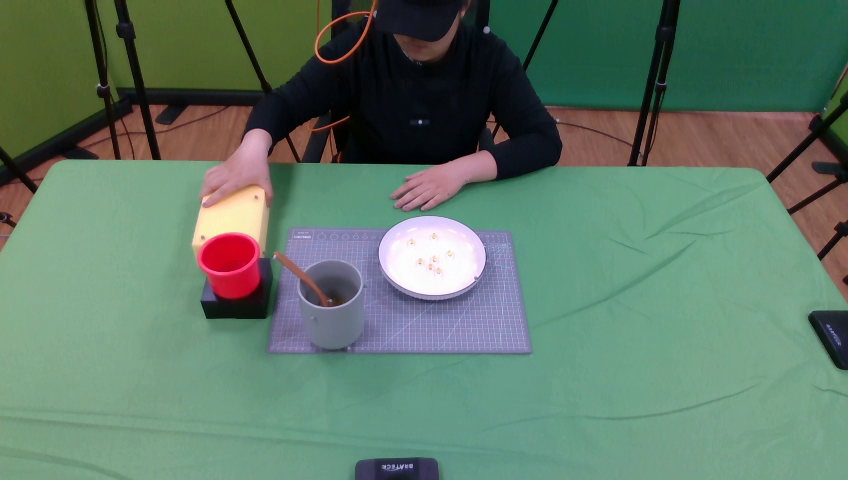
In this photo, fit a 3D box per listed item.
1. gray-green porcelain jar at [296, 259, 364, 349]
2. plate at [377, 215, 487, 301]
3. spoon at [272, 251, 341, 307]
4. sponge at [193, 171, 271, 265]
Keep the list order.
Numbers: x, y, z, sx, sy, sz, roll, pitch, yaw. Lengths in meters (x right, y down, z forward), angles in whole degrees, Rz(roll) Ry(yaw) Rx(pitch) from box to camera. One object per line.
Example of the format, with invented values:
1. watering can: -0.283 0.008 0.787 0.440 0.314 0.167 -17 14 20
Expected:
1. gray-green porcelain jar: -0.152 0.111 1.003 0.106 0.127 0.105 2 46 -2
2. plate: 0.015 0.037 1.147 0.208 0.039 0.206 2 46 -2
3. spoon: -0.180 0.077 0.982 0.021 0.195 0.041 -8 46 28
4. sponge: -0.371 -0.047 1.189 0.118 0.061 0.205 -3 46 -6
